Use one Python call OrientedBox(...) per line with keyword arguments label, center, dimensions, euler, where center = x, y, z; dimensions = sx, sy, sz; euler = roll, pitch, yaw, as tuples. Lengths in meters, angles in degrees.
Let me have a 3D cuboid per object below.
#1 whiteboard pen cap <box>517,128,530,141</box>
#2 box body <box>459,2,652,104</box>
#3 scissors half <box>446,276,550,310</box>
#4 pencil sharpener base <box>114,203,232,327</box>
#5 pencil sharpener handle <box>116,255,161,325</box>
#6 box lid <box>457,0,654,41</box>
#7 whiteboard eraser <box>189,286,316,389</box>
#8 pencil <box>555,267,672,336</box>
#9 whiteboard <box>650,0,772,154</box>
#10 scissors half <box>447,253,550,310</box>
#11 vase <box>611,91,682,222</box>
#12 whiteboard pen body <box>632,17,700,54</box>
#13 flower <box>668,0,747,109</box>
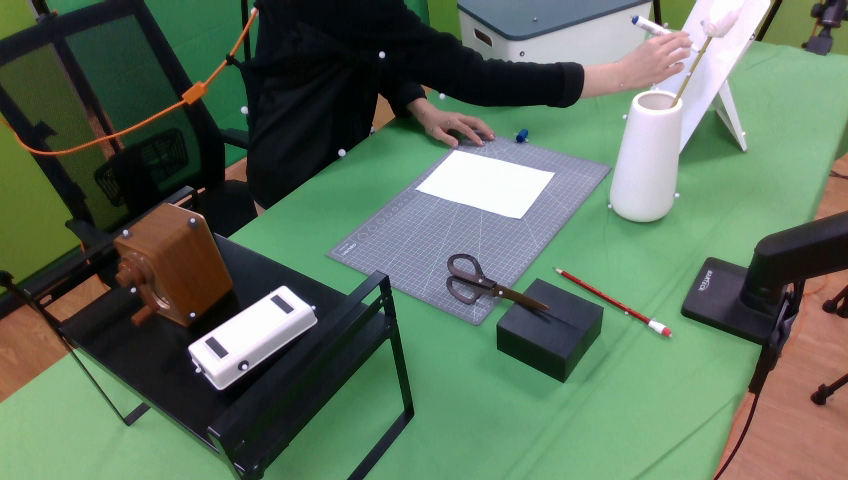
OrientedBox(label="whiteboard pen cap", center=(0.195, -0.207, 1.192), dimensions=(0.018, 0.018, 0.033), euler=(14, 41, 23))
OrientedBox(label="box body", center=(0.291, -0.465, 1.371), dimensions=(0.365, 0.161, 0.252), euler=(-22, 42, -16))
OrientedBox(label="scissors half", center=(0.098, 0.077, 0.827), dimensions=(0.174, 0.040, 0.013), euler=(6, 14, 44))
OrientedBox(label="pencil sharpener base", center=(-0.261, 0.029, 0.635), dimensions=(0.061, 0.107, 0.077), euler=(18, 47, 27))
OrientedBox(label="pencil sharpener handle", center=(-0.286, 0.050, 0.594), dimensions=(0.035, 0.068, 0.031), euler=(7, 41, 35))
OrientedBox(label="box lid", center=(0.285, -0.522, 1.323), dimensions=(0.373, 0.015, 0.261), euler=(-22, 43, -16))
OrientedBox(label="whiteboard eraser", center=(-0.166, 0.096, 0.593), dimensions=(0.113, 0.042, 0.055), euler=(-36, 46, -29))
OrientedBox(label="pencil", center=(0.261, 0.082, 0.851), dimensions=(0.012, 0.012, 0.192), euler=(-33, 45, -27))
OrientedBox(label="whiteboard", center=(0.543, -0.298, 1.076), dimensions=(0.144, 0.305, 0.216), euler=(12, 40, -7))
OrientedBox(label="scissors half", center=(0.098, 0.058, 0.821), dimensions=(0.173, 0.040, 0.013), euler=(27, 33, 36))
OrientedBox(label="vase", center=(0.348, -0.125, 0.935), dimensions=(0.098, 0.201, 0.097), euler=(-3, 40, 3))
OrientedBox(label="whiteboard pen body", center=(0.412, -0.343, 1.020), dimensions=(0.141, 0.017, 0.017), euler=(19, 39, -14))
OrientedBox(label="flower", center=(0.355, -0.187, 0.879), dimensions=(0.038, 0.362, 0.044), euler=(30, 48, 14))
